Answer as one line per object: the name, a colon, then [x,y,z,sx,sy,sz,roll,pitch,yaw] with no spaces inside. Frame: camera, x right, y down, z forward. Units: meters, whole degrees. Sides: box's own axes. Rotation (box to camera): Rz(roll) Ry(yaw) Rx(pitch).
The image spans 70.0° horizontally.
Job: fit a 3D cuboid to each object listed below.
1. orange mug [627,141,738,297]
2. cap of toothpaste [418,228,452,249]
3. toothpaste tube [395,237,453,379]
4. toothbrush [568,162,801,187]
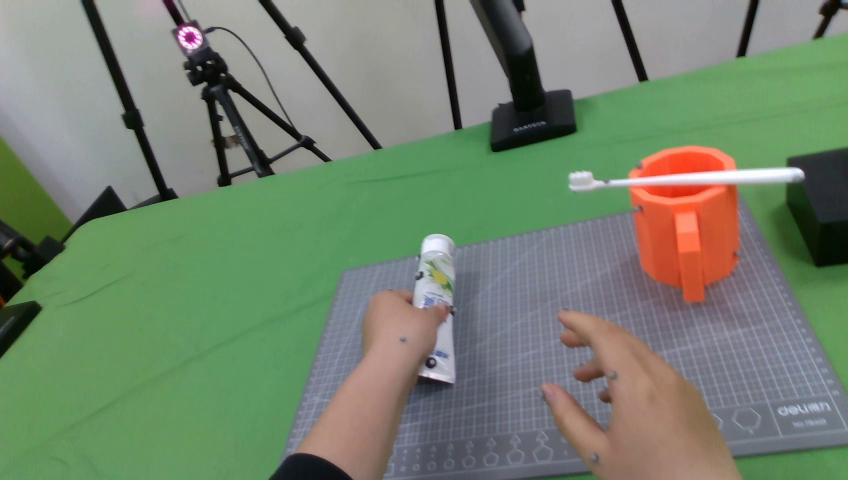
orange mug: [0.228,-0.015,0.529,0.083,0.102,0.125,-7,34,23]
cap of toothpaste: [0.012,0.002,0.645,0.037,0.038,0.011,-9,45,19]
toothpaste tube: [0.005,0.058,0.593,0.055,0.035,0.163,12,47,-8]
toothbrush: [0.208,-0.056,0.503,0.181,0.017,0.014,1,34,30]
